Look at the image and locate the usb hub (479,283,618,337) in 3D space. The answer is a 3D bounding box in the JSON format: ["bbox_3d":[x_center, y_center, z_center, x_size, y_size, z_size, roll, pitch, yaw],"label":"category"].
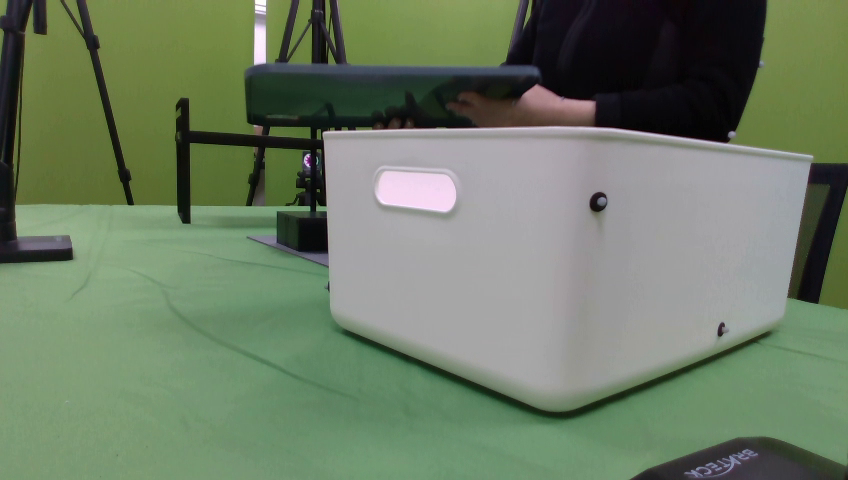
[{"bbox_3d":[0.110,0.058,0.525,0.126,0.025,0.049,-3,10,-36],"label":"usb hub"}]

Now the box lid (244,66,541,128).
[{"bbox_3d":[-0.052,-0.190,0.830,0.373,0.015,0.262,-4,-1,-16],"label":"box lid"}]

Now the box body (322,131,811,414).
[{"bbox_3d":[0.124,0.000,0.510,0.366,0.160,0.253,-4,10,-42],"label":"box body"}]
